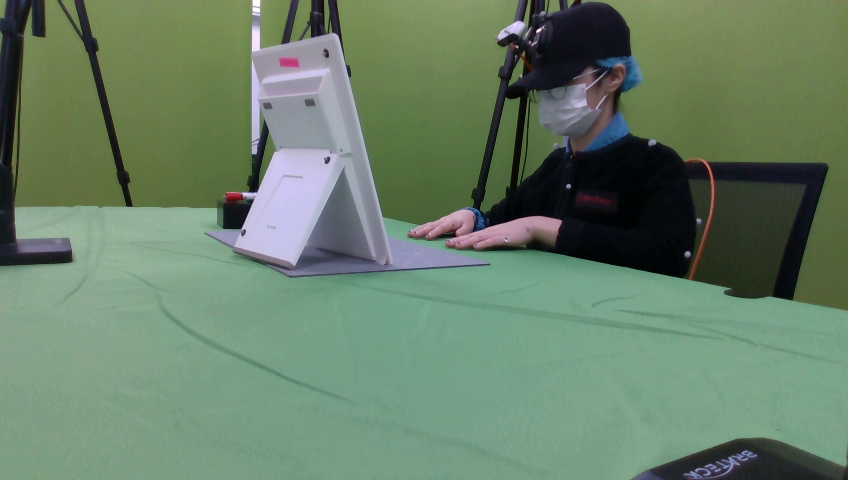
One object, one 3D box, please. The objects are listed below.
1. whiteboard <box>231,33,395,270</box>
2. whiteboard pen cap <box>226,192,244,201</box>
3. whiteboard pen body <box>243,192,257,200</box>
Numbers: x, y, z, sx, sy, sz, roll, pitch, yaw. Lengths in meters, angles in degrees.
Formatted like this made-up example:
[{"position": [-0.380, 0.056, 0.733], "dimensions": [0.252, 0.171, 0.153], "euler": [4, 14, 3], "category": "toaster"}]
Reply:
[{"position": [-0.193, -0.094, 0.805], "dimensions": [0.144, 0.305, 0.216], "euler": [-28, 25, -35], "category": "whiteboard"}, {"position": [-0.379, -0.087, 1.215], "dimensions": [0.032, 0.017, 0.017], "euler": [-5, 10, -37], "category": "whiteboard pen cap"}, {"position": [-0.331, -0.091, 1.248], "dimensions": [0.141, 0.017, 0.017], "euler": [-3, 9, -35], "category": "whiteboard pen body"}]
